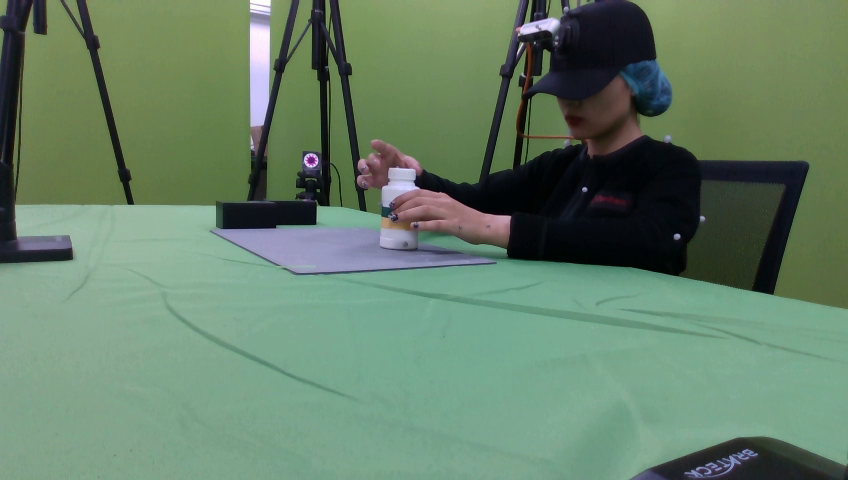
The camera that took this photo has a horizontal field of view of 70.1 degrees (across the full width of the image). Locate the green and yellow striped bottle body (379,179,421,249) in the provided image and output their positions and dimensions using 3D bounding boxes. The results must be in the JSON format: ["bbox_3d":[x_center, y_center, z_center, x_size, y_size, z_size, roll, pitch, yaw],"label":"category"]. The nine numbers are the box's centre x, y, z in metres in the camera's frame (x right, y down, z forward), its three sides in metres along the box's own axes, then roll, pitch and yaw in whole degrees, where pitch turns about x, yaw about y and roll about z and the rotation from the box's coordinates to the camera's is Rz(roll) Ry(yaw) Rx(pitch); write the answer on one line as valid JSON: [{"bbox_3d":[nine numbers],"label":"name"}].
[{"bbox_3d":[-0.038,-0.048,0.959,0.063,0.119,0.063,3,7,0],"label":"green and yellow striped bottle body"}]

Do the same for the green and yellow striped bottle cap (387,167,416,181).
[{"bbox_3d":[-0.036,-0.104,0.953,0.045,0.020,0.045,4,8,0],"label":"green and yellow striped bottle cap"}]
